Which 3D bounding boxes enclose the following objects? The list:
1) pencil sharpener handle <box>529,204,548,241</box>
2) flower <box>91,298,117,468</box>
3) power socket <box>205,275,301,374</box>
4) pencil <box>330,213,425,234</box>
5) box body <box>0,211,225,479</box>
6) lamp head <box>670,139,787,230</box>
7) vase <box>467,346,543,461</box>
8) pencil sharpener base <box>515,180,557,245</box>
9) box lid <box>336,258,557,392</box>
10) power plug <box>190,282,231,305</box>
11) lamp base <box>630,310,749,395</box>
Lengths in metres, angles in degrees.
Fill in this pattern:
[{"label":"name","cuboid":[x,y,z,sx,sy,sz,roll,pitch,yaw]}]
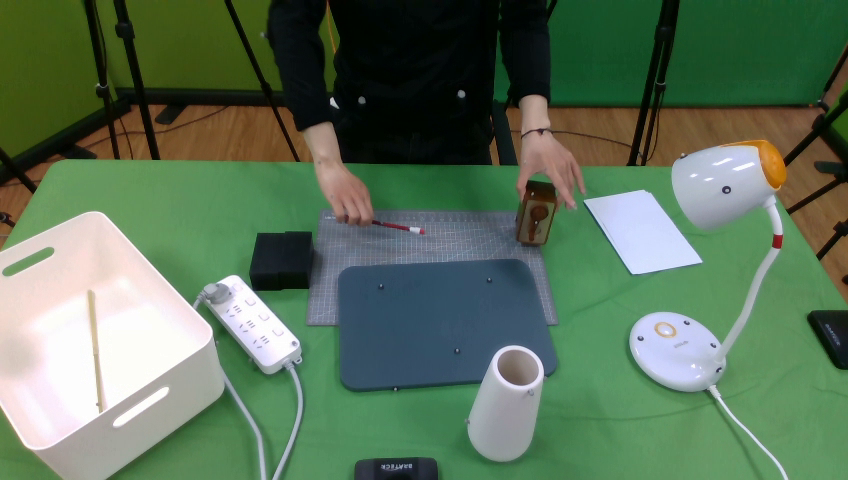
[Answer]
[{"label":"pencil sharpener handle","cuboid":[0.213,-0.032,1.139,0.036,0.068,0.030,13,37,-3]},{"label":"flower","cuboid":[-0.515,0.209,0.959,0.044,0.038,0.359,-3,40,-29]},{"label":"power socket","cuboid":[-0.296,0.140,1.035,0.072,0.033,0.225,-32,57,-29]},{"label":"pencil","cuboid":[-0.092,-0.034,1.181,0.194,0.012,0.012,11,47,8]},{"label":"box body","cuboid":[-0.504,0.154,0.916,0.362,0.161,0.254,36,54,27]},{"label":"lamp head","cuboid":[0.415,-0.079,0.812,0.113,0.123,0.112,12,70,-37]},{"label":"vase","cuboid":[0.116,0.234,0.861,0.098,0.201,0.097,1,47,-1]},{"label":"pencil sharpener base","cuboid":[0.218,-0.052,1.187,0.061,0.107,0.076,8,38,1]},{"label":"box lid","cuboid":[0.030,0.140,1.073,0.372,0.015,0.261,-3,47,-7]},{"label":"power plug","cuboid":[-0.368,0.097,1.039,0.072,0.053,0.035,-26,55,-20]},{"label":"lamp base","cuboid":[0.447,0.142,0.984,0.161,0.181,0.178,-24,55,-24]}]
